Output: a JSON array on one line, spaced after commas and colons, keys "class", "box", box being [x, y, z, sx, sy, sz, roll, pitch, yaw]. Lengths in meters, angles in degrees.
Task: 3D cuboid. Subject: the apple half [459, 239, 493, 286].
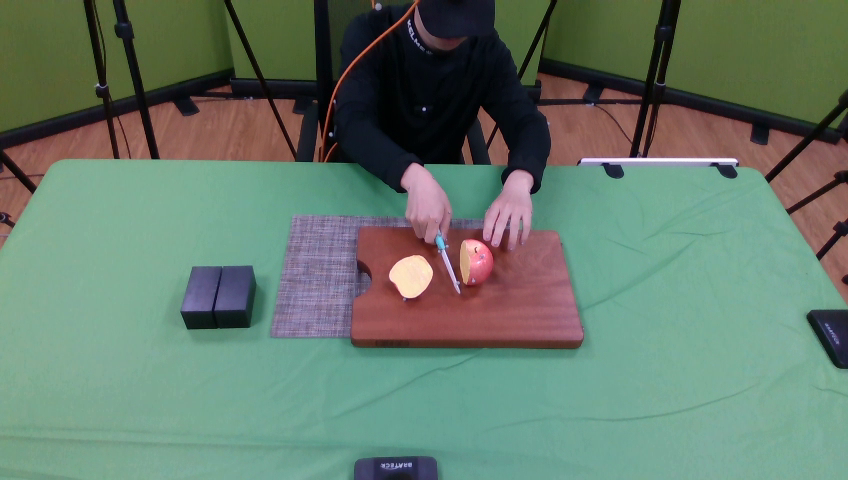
[{"class": "apple half", "box": [0.095, 0.042, 1.093, 0.053, 0.075, 0.080, -1, 43, -11]}]

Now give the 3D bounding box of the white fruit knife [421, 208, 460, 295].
[{"class": "white fruit knife", "box": [0.031, 0.016, 1.125, 0.016, 0.027, 0.206, -11, 56, -17]}]

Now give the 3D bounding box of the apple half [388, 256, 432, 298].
[{"class": "apple half", "box": [-0.019, 0.069, 1.080, 0.081, 0.033, 0.081, -6, 62, 12]}]
